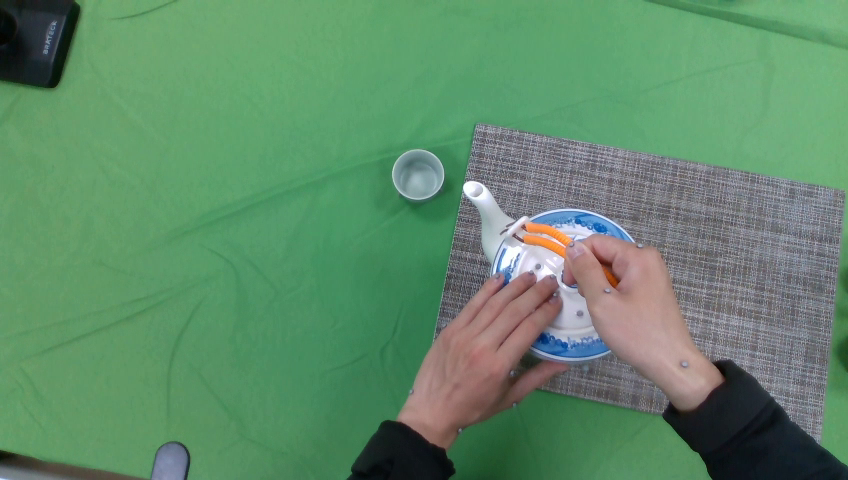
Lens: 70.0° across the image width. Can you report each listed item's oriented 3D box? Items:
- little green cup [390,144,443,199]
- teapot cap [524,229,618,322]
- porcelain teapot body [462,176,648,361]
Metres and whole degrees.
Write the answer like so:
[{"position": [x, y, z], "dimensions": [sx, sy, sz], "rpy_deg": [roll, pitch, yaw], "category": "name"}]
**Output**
[{"position": [-0.009, -0.079, 0.721], "dimensions": [0.061, 0.039, 0.061], "rpy_deg": [0, 80, 1], "category": "little green cup"}, {"position": [0.131, 0.030, 0.538], "dimensions": [0.085, 0.044, 0.084], "rpy_deg": [-2, 74, 7], "category": "teapot cap"}, {"position": [0.113, 0.021, 0.583], "dimensions": [0.204, 0.226, 0.145], "rpy_deg": [41, 85, 13], "category": "porcelain teapot body"}]
